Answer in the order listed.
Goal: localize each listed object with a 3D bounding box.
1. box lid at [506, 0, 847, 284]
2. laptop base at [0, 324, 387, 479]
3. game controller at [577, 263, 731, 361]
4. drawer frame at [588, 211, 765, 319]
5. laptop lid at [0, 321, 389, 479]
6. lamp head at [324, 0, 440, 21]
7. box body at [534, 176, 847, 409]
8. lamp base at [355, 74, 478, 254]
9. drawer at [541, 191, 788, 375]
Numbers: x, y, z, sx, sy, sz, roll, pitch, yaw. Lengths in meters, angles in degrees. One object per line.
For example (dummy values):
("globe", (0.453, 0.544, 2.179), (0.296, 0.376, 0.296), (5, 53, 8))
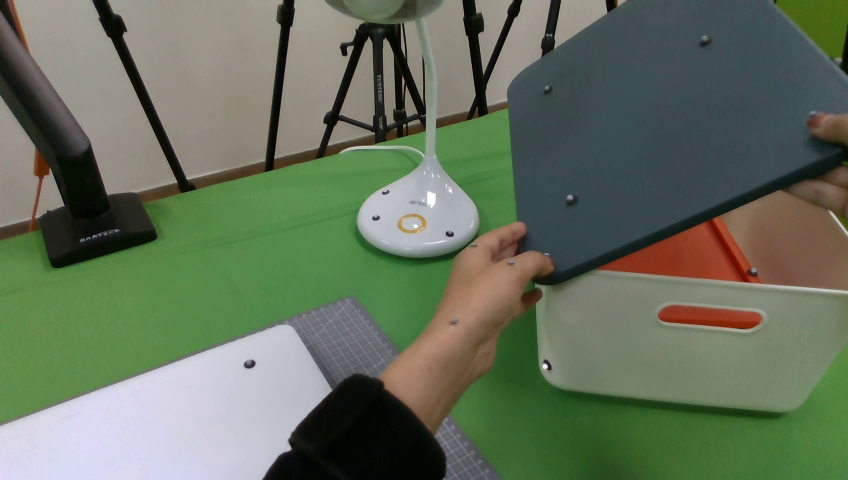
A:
("box lid", (0.194, -0.131, 0.555), (0.263, 0.015, 0.368), (-28, 33, 26))
("laptop base", (-0.225, 0.198, 0.461), (0.355, 0.023, 0.233), (-19, 44, -27))
("game controller", (0.232, 0.071, 0.611), (0.155, 0.052, 0.096), (1, 64, -2))
("drawer frame", (0.229, 0.036, 0.639), (0.202, 0.083, 0.211), (3, 34, 0))
("laptop lid", (-0.224, 0.190, 0.452), (0.357, 0.013, 0.239), (-18, 42, -25))
("lamp head", (-0.035, -0.267, 0.522), (0.112, 0.113, 0.122), (2, 75, 1))
("box body", (0.248, -0.009, 0.650), (0.254, 0.162, 0.361), (5, 36, 5))
("lamp base", (-0.007, -0.102, 0.753), (0.160, 0.181, 0.178), (5, 34, 5))
("drawer", (0.232, 0.035, 0.637), (0.194, 0.074, 0.210), (5, 35, 0))
